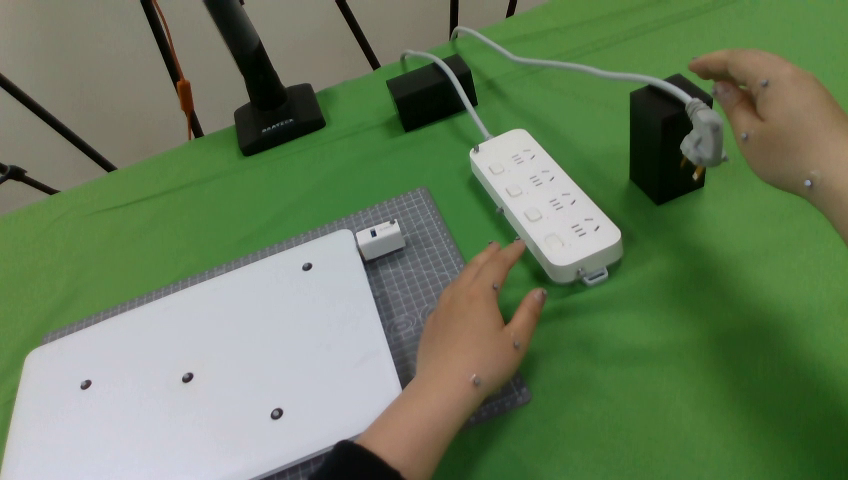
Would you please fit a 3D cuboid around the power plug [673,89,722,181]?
[{"bbox_3d":[0.230,-0.088,0.519,0.035,0.053,0.072,6,46,-5],"label":"power plug"}]

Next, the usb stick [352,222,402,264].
[{"bbox_3d":[-0.054,0.006,0.612,0.059,0.027,0.021,-23,43,0],"label":"usb stick"}]

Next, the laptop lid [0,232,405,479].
[{"bbox_3d":[-0.209,0.128,0.543,0.357,0.013,0.239,-21,46,-2],"label":"laptop lid"}]

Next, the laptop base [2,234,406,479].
[{"bbox_3d":[-0.207,0.135,0.553,0.354,0.023,0.232,-22,47,-3],"label":"laptop base"}]

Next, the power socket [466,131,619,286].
[{"bbox_3d":[0.111,-0.040,0.607,0.072,0.033,0.224,-23,43,-6],"label":"power socket"}]
